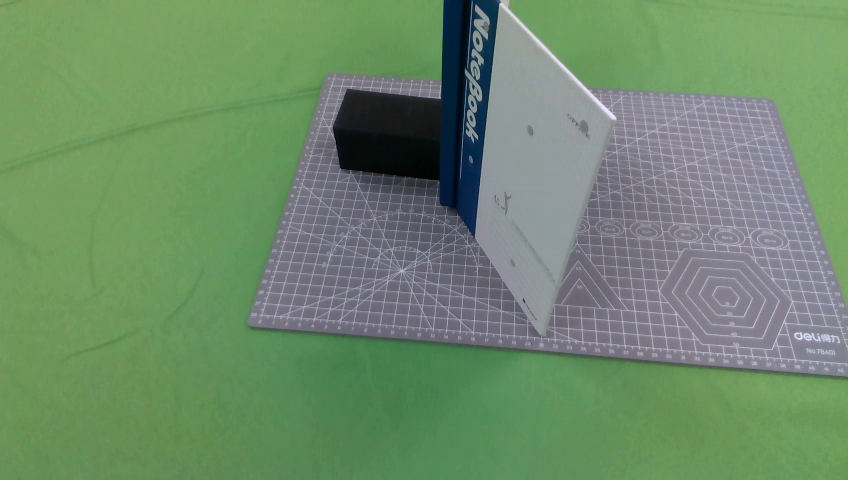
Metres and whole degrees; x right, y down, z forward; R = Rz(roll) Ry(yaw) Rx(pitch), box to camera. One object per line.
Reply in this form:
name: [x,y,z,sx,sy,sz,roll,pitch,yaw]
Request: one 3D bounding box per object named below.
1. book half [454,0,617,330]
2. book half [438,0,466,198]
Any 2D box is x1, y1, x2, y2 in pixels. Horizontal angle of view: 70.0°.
book half: [0.056,-0.046,0.398,0.007,0.212,0.141,-21,56,-16]
book half: [0.038,-0.153,0.476,0.016,0.212,0.147,13,55,9]
